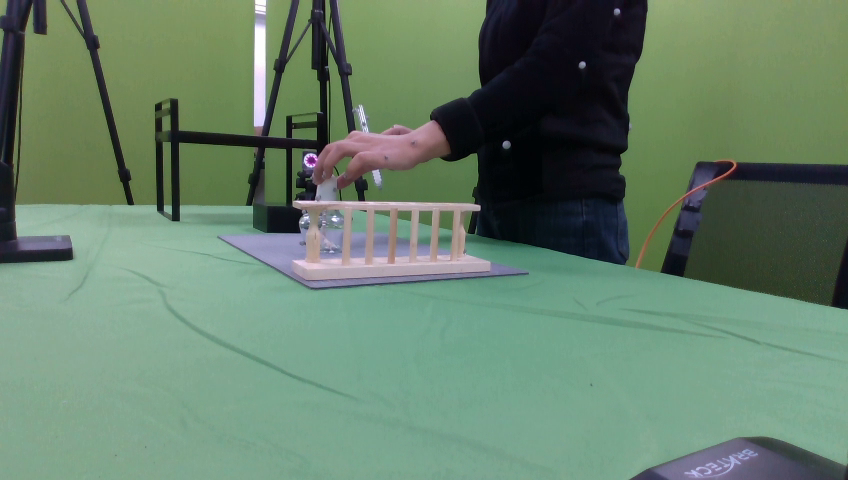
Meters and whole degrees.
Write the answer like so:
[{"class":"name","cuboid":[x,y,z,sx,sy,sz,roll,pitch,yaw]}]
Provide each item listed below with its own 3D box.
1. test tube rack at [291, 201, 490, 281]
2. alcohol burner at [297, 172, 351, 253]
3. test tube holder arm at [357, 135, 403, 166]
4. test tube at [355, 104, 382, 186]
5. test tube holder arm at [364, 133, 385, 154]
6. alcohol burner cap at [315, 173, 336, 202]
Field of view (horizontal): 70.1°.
[{"class":"test tube rack","cuboid":[-0.035,-0.002,0.745,0.243,0.085,0.066,-1,8,-28]},{"class":"alcohol burner","cuboid":[-0.146,-0.040,0.894,0.078,0.119,0.078,4,7,0]},{"class":"test tube holder arm","cuboid":[-0.078,-0.162,1.107,0.013,0.015,0.179,-10,-10,19]},{"class":"test tube","cuboid":[-0.095,-0.164,1.041,0.017,0.150,0.017,-14,-12,-3]},{"class":"test tube holder arm","cuboid":[-0.086,-0.168,1.063,0.010,0.015,0.088,-9,-10,12]},{"class":"alcohol burner cap","cuboid":[-0.144,-0.075,0.887,0.034,0.048,0.034,5,12,-1]}]
